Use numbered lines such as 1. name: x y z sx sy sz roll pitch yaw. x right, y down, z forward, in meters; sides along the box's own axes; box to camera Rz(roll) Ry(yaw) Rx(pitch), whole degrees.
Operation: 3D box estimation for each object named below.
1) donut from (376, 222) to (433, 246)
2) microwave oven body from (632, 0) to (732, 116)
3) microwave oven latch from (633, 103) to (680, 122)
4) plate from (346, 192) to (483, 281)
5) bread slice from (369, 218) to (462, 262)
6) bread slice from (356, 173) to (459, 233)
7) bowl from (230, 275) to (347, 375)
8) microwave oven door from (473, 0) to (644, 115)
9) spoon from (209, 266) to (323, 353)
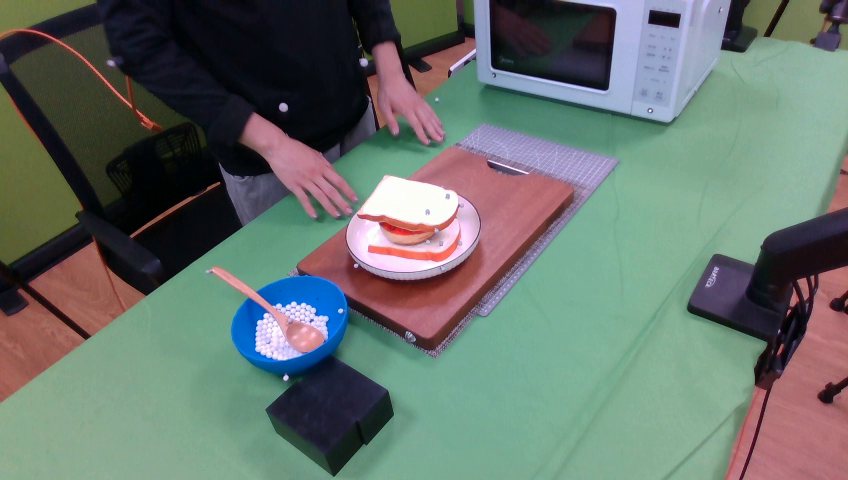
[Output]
1. donut: -0.023 -0.031 0.906 0.099 0.048 0.098 -9 42 9
2. microwave oven body: 0.377 -0.462 1.267 0.438 0.261 0.327 21 48 30
3. microwave oven latch: 0.443 -0.249 1.157 0.078 0.029 0.030 21 48 30
4. plate: -0.013 -0.008 0.922 0.207 0.039 0.206 -4 40 4
5. bread slice: -0.008 -0.010 0.929 0.131 0.019 0.105 7 44 20
6. bread slice: -0.017 -0.053 0.886 0.134 0.018 0.107 12 43 12
7. bowl: -0.171 0.125 0.802 0.151 0.077 0.150 -4 40 4
8. microwave oven door: 0.257 -0.396 1.199 0.353 0.245 0.039 21 48 29
9. spoon: -0.213 0.088 0.806 0.193 0.021 0.042 36 56 11
